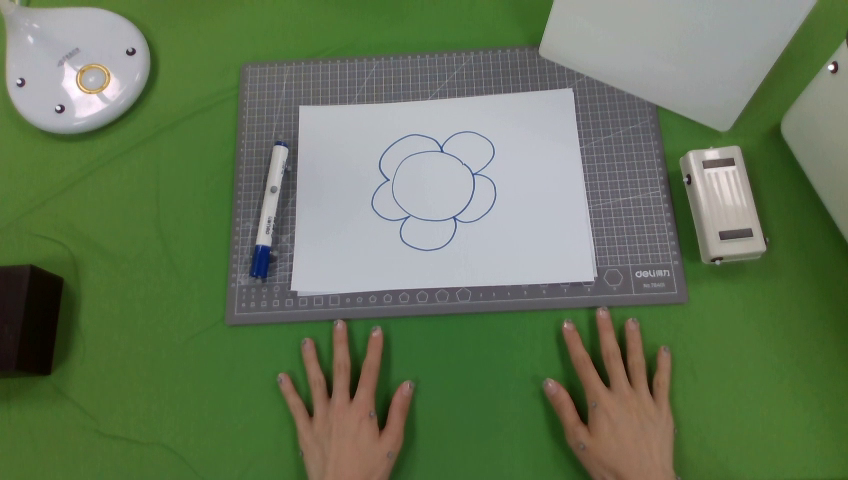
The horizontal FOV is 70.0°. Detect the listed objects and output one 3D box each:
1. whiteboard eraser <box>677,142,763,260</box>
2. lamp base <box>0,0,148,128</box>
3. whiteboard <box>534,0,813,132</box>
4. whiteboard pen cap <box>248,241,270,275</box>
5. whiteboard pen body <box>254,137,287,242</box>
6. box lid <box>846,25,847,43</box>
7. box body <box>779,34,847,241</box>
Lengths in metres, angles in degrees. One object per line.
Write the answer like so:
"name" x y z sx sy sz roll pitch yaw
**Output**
"whiteboard eraser" 0.286 -0.038 0.590 0.055 0.042 0.112 -5 73 0
"lamp base" -0.406 -0.228 0.612 0.178 0.181 0.160 29 76 15
"whiteboard" 0.266 -0.293 0.564 0.216 0.308 0.143 28 55 12
"whiteboard pen cap" -0.165 0.017 0.606 0.018 0.018 0.033 5 75 5
"whiteboard pen body" -0.159 -0.039 0.620 0.017 0.017 0.140 5 75 5
"box lid" 0.516 -0.066 0.444 0.263 0.015 0.369 -21 73 -3
"box body" 0.521 -0.041 0.515 0.254 0.161 0.361 -21 73 -3
